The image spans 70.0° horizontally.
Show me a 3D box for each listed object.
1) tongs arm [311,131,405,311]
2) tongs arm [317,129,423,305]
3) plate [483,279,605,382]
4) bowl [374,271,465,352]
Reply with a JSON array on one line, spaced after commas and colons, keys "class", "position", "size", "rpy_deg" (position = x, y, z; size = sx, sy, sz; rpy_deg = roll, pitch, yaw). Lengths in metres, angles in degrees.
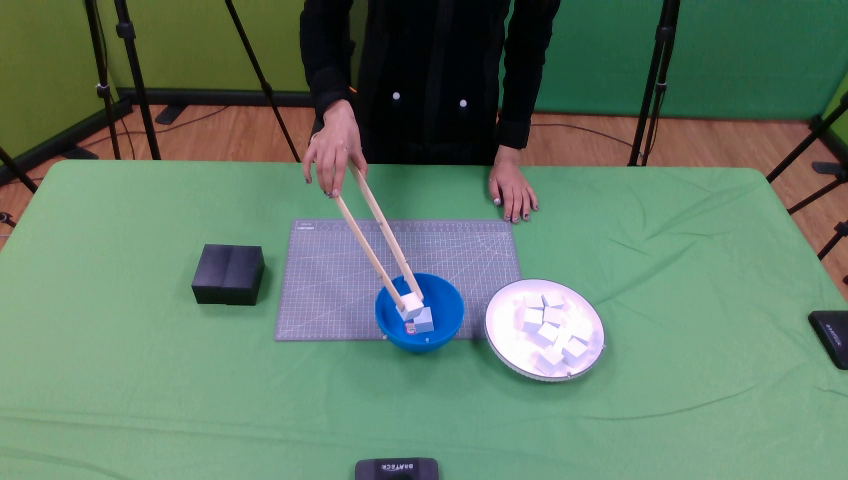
[{"class": "tongs arm", "position": [-0.121, -0.042, 1.047], "size": [0.028, 0.028, 0.385], "rpy_deg": [-20, 63, -23]}, {"class": "tongs arm", "position": [-0.101, -0.049, 1.057], "size": [0.051, 0.026, 0.382], "rpy_deg": [-14, 61, -24]}, {"class": "plate", "position": [0.204, 0.158, 1.046], "size": [0.208, 0.039, 0.206], "rpy_deg": [3, 47, -3]}, {"class": "bowl", "position": [-0.009, 0.136, 1.024], "size": [0.151, 0.077, 0.150], "rpy_deg": [2, 46, -2]}]
